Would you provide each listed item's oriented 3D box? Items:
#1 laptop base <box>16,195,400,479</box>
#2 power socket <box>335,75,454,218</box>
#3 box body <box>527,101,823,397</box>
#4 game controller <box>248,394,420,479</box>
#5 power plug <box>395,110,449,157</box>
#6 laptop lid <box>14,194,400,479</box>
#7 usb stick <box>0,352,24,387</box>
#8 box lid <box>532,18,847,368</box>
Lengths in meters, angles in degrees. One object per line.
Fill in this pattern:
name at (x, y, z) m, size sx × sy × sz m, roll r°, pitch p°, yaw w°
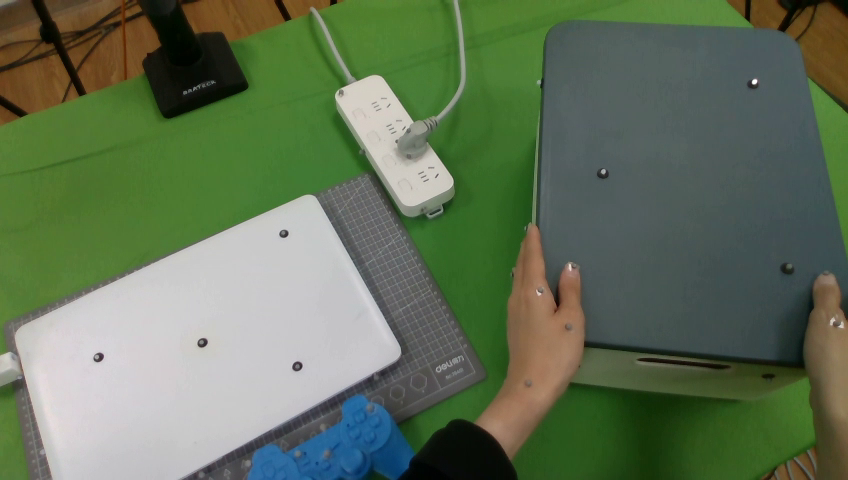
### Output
laptop base at (-0.230, 0.113, 0.649) m, size 0.354 × 0.023 × 0.233 m, roll -27°, pitch 68°, yaw -12°
power socket at (-0.040, -0.122, 0.761) m, size 0.072 × 0.033 × 0.224 m, roll -26°, pitch 64°, yaw -13°
box body at (0.240, -0.033, 0.631) m, size 0.254 × 0.161 × 0.361 m, roll 5°, pitch 62°, yaw 4°
game controller at (-0.090, 0.215, 0.573) m, size 0.155 × 0.052 × 0.096 m, roll -26°, pitch 61°, yaw -12°
power plug at (0.001, -0.121, 0.734) m, size 0.072 × 0.053 × 0.035 m, roll -16°, pitch 61°, yaw -8°
laptop lid at (-0.230, 0.109, 0.637) m, size 0.357 × 0.013 × 0.239 m, roll -26°, pitch 66°, yaw -11°
usb stick at (-0.437, 0.135, 0.629) m, size 0.059 × 0.027 × 0.021 m, roll -23°, pitch 58°, yaw -14°
box lid at (0.238, -0.070, 0.566) m, size 0.263 × 0.015 × 0.368 m, roll 5°, pitch 63°, yaw 5°
